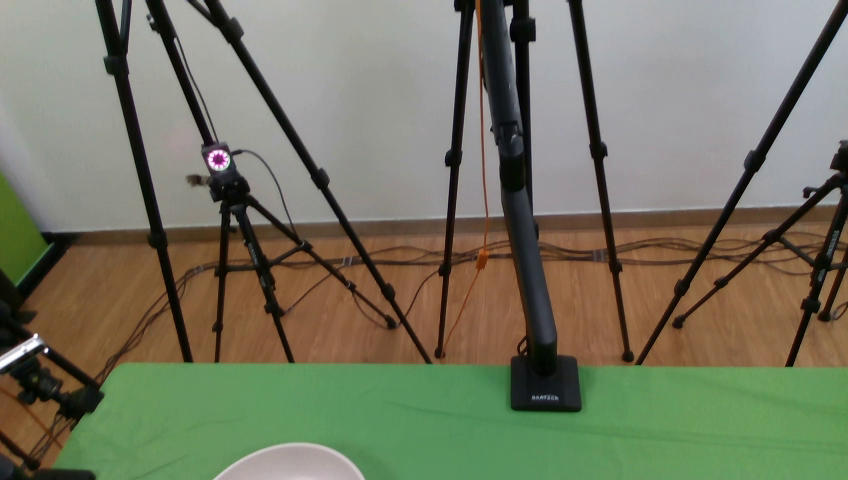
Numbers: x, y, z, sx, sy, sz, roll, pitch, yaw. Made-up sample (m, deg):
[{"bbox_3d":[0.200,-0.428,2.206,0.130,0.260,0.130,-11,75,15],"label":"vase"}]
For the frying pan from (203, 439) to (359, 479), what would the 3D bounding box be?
[{"bbox_3d":[-0.216,0.489,0.796,0.307,0.103,0.483,-8,31,2],"label":"frying pan"}]
